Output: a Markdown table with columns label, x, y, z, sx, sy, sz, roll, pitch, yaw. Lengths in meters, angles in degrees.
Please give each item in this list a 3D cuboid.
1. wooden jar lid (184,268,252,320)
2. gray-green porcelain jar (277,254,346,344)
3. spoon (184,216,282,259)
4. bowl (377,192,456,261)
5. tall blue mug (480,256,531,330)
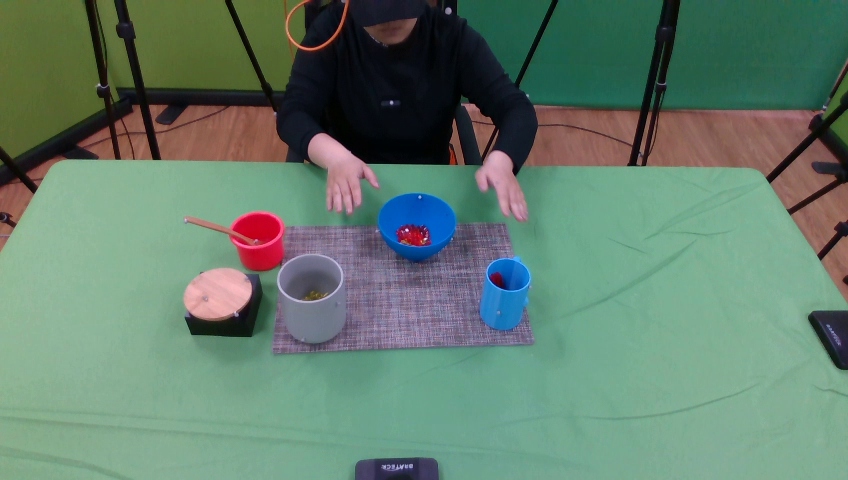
| label | x | y | z | sx | sy | sz | roll | pitch | yaw |
| --- | --- | --- | --- | --- | --- | --- | --- | --- | --- |
| wooden jar lid | -0.343 | 0.092 | 1.015 | 0.108 | 0.021 | 0.107 | 3 | 46 | -3 |
| gray-green porcelain jar | -0.184 | 0.102 | 1.008 | 0.106 | 0.127 | 0.105 | 2 | 46 | -2 |
| spoon | -0.341 | -0.008 | 1.096 | 0.021 | 0.195 | 0.041 | -35 | 47 | 26 |
| bowl | -0.015 | -0.013 | 1.166 | 0.151 | 0.077 | 0.150 | 2 | 46 | -2 |
| tall blue mug | 0.140 | 0.084 | 1.061 | 0.078 | 0.108 | 0.106 | -2 | 46 | -4 |
